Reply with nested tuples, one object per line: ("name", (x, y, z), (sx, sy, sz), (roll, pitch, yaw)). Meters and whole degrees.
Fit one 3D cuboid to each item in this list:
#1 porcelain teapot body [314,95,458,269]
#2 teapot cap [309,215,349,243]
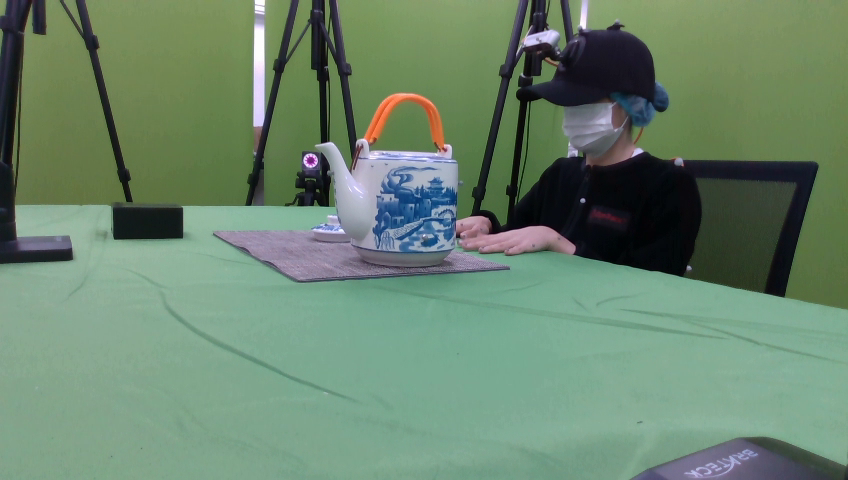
("porcelain teapot body", (-0.049, -0.079, 0.800), (0.206, 0.225, 0.144), (-3, 9, -37))
("teapot cap", (-0.151, -0.020, 1.013), (0.085, 0.044, 0.085), (3, 10, 0))
